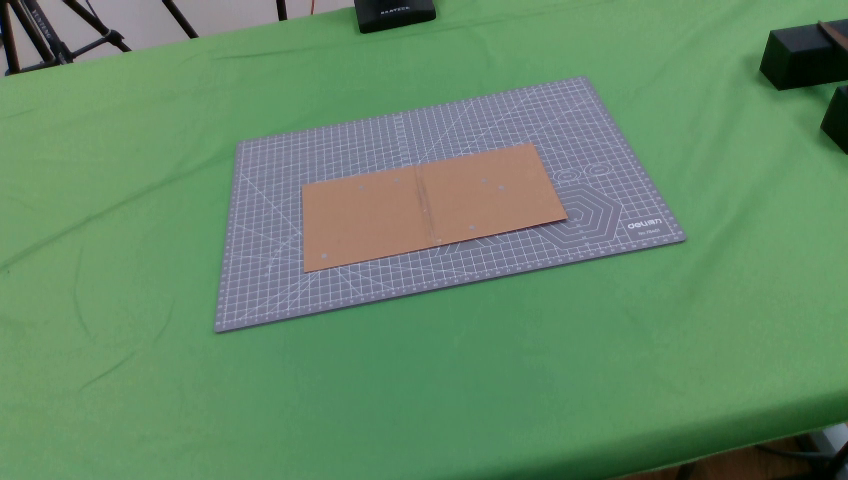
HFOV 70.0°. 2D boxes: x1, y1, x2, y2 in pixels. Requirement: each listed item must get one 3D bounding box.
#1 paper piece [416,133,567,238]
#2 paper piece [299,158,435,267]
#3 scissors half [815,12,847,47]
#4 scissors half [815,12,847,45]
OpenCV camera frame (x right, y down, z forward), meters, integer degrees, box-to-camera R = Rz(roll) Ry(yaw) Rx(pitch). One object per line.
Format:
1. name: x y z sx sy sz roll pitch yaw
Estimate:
1. paper piece: 0.066 -0.063 0.644 0.135 0.004 0.134 -12 45 0
2. paper piece: -0.065 -0.035 0.642 0.138 0.009 0.134 -11 43 0
3. scissors half: 0.449 -0.200 0.637 0.040 0.013 0.173 -3 45 9
4. scissors half: 0.469 -0.205 0.636 0.040 0.013 0.173 -19 45 0
